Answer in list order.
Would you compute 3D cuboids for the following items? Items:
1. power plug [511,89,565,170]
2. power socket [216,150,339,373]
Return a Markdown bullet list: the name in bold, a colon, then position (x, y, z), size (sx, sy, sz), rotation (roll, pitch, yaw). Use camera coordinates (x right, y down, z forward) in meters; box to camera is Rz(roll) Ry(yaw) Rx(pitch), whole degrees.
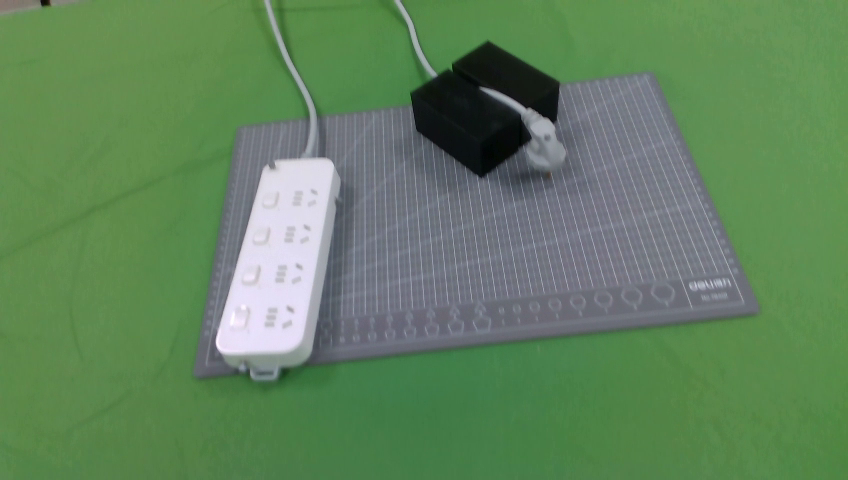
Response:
- **power plug**: position (0.106, -0.102, 0.563), size (0.035, 0.053, 0.072), rotation (-12, 56, -5)
- **power socket**: position (-0.123, 0.005, 0.532), size (0.072, 0.033, 0.224), rotation (-1, 54, 5)
